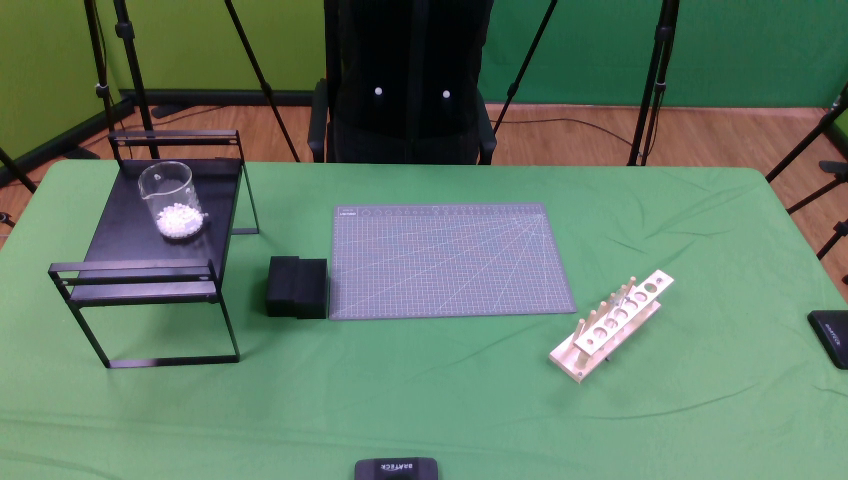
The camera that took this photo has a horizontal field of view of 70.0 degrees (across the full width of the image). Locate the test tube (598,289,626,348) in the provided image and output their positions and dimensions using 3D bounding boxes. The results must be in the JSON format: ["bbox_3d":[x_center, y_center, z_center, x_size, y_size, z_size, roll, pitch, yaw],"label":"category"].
[{"bbox_3d":[0.302,0.130,0.982,0.017,0.151,0.017,0,47,0],"label":"test tube"}]

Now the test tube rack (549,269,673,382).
[{"bbox_3d":[0.325,0.134,1.047,0.242,0.085,0.066,-32,56,-30],"label":"test tube rack"}]

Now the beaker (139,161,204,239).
[{"bbox_3d":[-0.381,-0.056,0.920,0.074,0.101,0.084,22,49,18],"label":"beaker"}]
